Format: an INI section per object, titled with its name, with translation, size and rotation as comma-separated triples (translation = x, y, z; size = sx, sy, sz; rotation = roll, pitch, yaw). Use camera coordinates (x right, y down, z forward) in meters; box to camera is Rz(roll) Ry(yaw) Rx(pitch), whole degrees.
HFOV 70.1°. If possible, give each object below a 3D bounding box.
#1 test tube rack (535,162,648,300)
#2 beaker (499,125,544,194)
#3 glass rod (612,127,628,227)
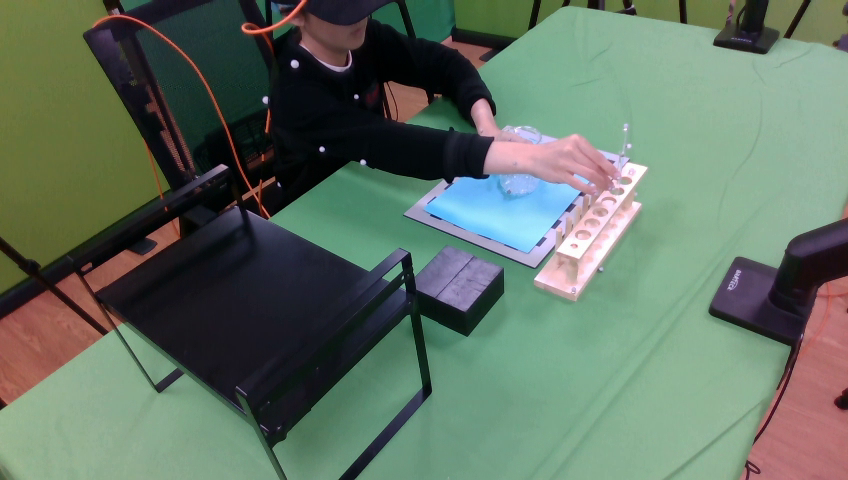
[test tube rack]
translation = 0.257, -0.024, 0.916
size = 0.066, 0.085, 0.243
rotation = 22, 49, 30
[beaker]
translation = 0.168, -0.138, 1.046
size = 0.074, 0.101, 0.083
rotation = -8, 40, 0
[glass rod]
translation = 0.285, -0.086, 0.882
size = 0.008, 0.201, 0.008
rotation = -6, 50, 7
